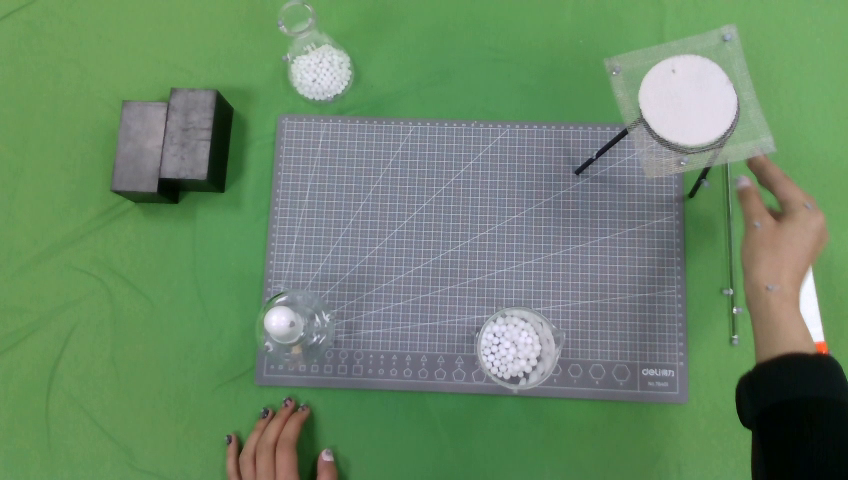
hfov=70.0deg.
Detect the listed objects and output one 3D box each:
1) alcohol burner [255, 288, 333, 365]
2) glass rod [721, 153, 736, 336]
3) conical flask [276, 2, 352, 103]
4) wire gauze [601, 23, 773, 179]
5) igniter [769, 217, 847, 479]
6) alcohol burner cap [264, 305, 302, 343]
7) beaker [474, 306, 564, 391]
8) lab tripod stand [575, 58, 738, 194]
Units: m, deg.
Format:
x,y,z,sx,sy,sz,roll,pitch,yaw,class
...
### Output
x,y,z,sx,sy,sz,roll,pitch,yaw,class
-0.130,0.083,0.592,0.078,0.119,0.077,0,79,0,alcohol burner
0.327,0.003,0.648,0.008,0.008,0.199,2,81,2,glass rod
-0.121,-0.201,0.638,0.075,0.122,0.075,0,80,2,conical flask
0.235,-0.123,0.540,0.125,0.011,0.121,-14,82,-1,wire gauze
0.392,0.113,0.619,0.057,0.025,0.275,-3,81,-10,igniter
-0.131,0.075,0.557,0.034,0.048,0.033,2,73,-5,alcohol burner cap
0.088,0.103,0.590,0.084,0.100,0.073,-16,80,-1,beaker
0.234,-0.108,0.605,0.148,0.132,0.148,0,82,1,lab tripod stand
